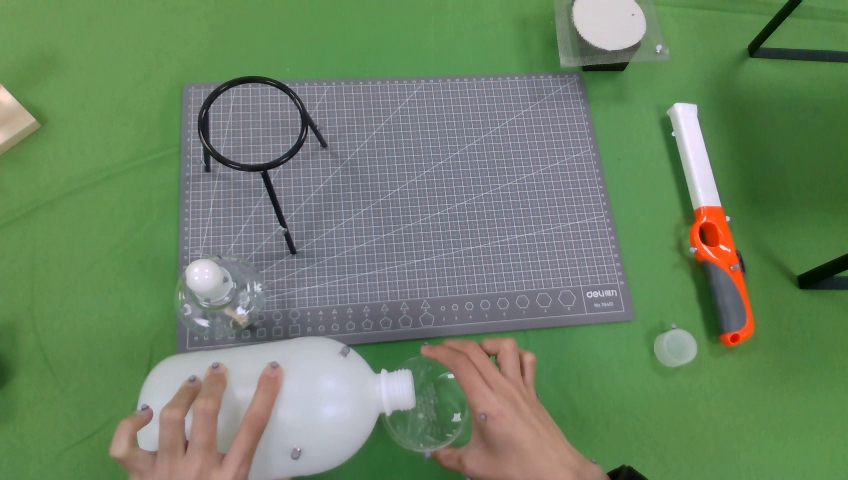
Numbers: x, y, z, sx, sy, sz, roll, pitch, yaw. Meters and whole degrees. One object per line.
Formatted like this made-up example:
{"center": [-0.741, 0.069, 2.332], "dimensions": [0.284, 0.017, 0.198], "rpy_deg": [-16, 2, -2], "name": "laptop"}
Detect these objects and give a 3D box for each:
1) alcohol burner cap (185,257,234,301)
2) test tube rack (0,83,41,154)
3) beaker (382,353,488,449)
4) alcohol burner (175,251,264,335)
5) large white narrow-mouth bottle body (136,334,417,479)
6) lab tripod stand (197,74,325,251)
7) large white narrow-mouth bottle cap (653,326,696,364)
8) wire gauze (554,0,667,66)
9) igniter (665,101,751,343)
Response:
{"center": [-0.178, 0.031, 0.499], "dimensions": [0.034, 0.048, 0.033], "rpy_deg": [1, 76, -5], "name": "alcohol burner cap"}
{"center": [-0.499, -0.075, 0.557], "dimensions": [0.066, 0.085, 0.242], "rpy_deg": [43, 72, 9], "name": "test tube rack"}
{"center": [0.012, 0.139, 0.523], "dimensions": [0.084, 0.101, 0.073], "rpy_deg": [0, 74, 15], "name": "beaker"}
{"center": [-0.182, 0.042, 0.533], "dimensions": [0.078, 0.119, 0.077], "rpy_deg": [3, 69, -7], "name": "alcohol burner"}
{"center": [-0.104, 0.125, 0.462], "dimensions": [0.195, 0.102, 0.101], "rpy_deg": [-8, 71, 1], "name": "large white narrow-mouth bottle body"}
{"center": [-0.147, -0.076, 0.567], "dimensions": [0.149, 0.132, 0.147], "rpy_deg": [3, 71, -7], "name": "lab tripod stand"}
{"center": [0.252, 0.106, 0.610], "dimensions": [0.038, 0.024, 0.037], "rpy_deg": [2, 70, -4], "name": "large white narrow-mouth bottle cap"}
{"center": [0.204, -0.251, 0.682], "dimensions": [0.122, 0.011, 0.124], "rpy_deg": [-2, 72, -6], "name": "wire gauze"}
{"center": [0.306, -0.026, 0.656], "dimensions": [0.057, 0.025, 0.274], "rpy_deg": [0, 71, -17], "name": "igniter"}
